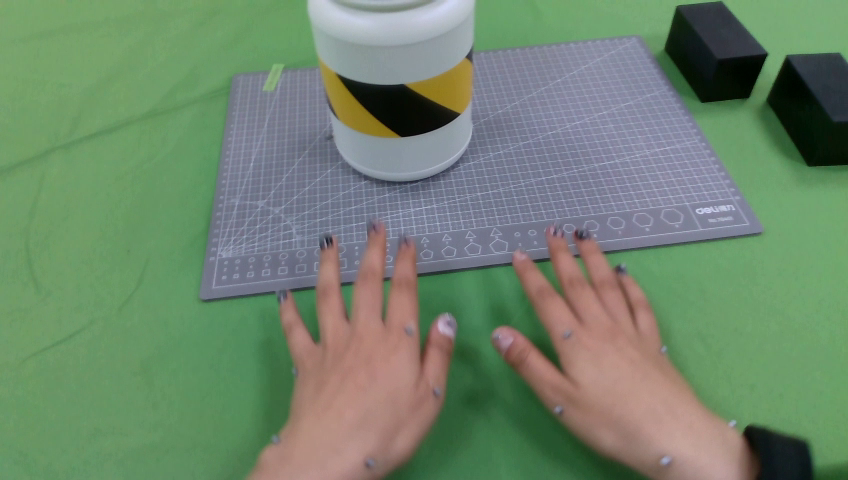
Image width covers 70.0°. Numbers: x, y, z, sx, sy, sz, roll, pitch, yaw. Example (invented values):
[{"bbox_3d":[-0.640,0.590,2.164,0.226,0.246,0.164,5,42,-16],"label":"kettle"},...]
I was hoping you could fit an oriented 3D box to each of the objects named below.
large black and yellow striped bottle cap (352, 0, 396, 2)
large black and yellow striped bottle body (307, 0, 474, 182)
[{"bbox_3d":[-0.029,-0.210,0.443,0.115,0.019,0.114,-1,48,2],"label":"large black and yellow striped bottle cap"},{"bbox_3d":[-0.024,-0.155,0.508,0.131,0.186,0.129,-1,50,2],"label":"large black and yellow striped bottle body"}]
